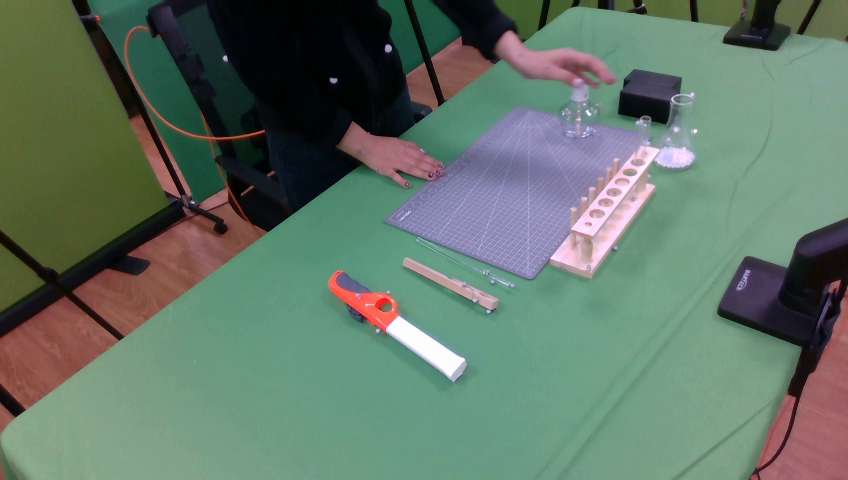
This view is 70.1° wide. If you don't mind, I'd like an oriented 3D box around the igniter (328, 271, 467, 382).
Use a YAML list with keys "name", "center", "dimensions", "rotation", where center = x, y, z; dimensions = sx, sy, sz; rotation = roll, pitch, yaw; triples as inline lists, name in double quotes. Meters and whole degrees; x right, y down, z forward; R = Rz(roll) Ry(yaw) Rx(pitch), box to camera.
- name: "igniter"
  center: [-0.049, 0.114, 0.854]
  dimensions: [0.274, 0.025, 0.057]
  rotation: [29, 63, 37]

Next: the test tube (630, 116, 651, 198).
- name: "test tube"
  center: [0.336, -0.125, 0.941]
  dimensions: [0.017, 0.151, 0.017]
  rotation: [-5, 43, 5]

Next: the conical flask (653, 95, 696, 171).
- name: "conical flask"
  center: [0.437, -0.187, 1.043]
  dimensions: [0.075, 0.122, 0.075]
  rotation: [-6, 40, 5]

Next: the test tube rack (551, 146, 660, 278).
- name: "test tube rack"
  center: [0.286, -0.053, 0.943]
  dimensions: [0.066, 0.085, 0.243]
  rotation: [21, 49, 32]

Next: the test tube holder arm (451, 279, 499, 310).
- name: "test tube holder arm"
  center: [0.071, 0.079, 0.882]
  dimensions: [0.087, 0.015, 0.010]
  rotation: [23, 14, 34]

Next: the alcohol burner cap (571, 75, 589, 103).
- name: "alcohol burner cap"
  center: [0.294, -0.284, 1.131]
  dimensions: [0.034, 0.048, 0.033]
  rotation: [-4, 45, 5]

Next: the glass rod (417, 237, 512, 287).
- name: "glass rod"
  center: [0.059, 0.032, 0.945]
  dimensions: [0.198, 0.008, 0.008]
  rotation: [26, 52, 38]

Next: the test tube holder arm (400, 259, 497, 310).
- name: "test tube holder arm"
  center: [0.033, 0.064, 0.902]
  dimensions: [0.177, 0.015, 0.013]
  rotation: [23, 13, 32]

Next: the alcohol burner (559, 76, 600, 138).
- name: "alcohol burner"
  center: [0.298, -0.258, 1.156]
  dimensions: [0.078, 0.119, 0.077]
  rotation: [-4, 39, 4]
